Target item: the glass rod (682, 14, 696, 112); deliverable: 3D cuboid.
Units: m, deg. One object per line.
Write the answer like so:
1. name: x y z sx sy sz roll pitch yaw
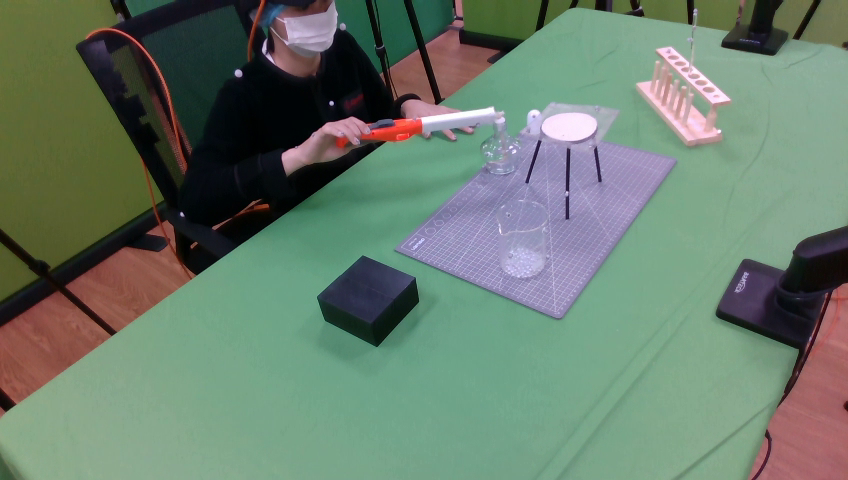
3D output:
1. glass rod: 0.495 -0.326 1.132 0.008 0.201 0.008 -8 42 8

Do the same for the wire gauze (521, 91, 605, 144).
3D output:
1. wire gauze: 0.219 -0.191 0.948 0.121 0.011 0.125 8 49 13

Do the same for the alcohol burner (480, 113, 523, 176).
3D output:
1. alcohol burner: 0.139 -0.176 1.089 0.078 0.119 0.077 -5 42 5

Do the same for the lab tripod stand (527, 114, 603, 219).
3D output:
1. lab tripod stand: 0.234 -0.129 1.002 0.148 0.132 0.147 -6 40 6

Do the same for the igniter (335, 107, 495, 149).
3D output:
1. igniter: -0.016 -0.191 1.031 0.277 0.057 0.025 -10 65 -6

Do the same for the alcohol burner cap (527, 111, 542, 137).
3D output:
1. alcohol burner cap: 0.220 -0.233 1.200 0.034 0.048 0.033 -5 41 5

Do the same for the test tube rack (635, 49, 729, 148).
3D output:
1. test tube rack: 0.497 -0.283 1.185 0.067 0.085 0.240 -10 40 -2

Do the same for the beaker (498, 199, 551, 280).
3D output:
1. beaker: 0.144 0.003 0.884 0.073 0.101 0.084 28 52 36
